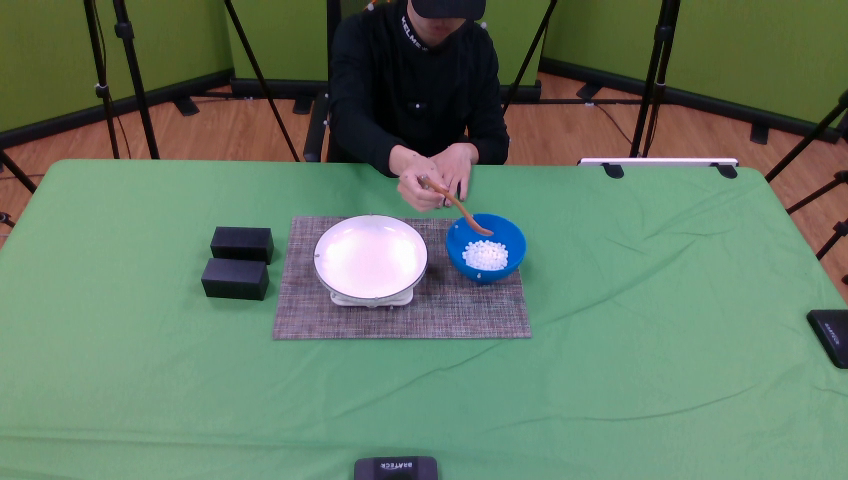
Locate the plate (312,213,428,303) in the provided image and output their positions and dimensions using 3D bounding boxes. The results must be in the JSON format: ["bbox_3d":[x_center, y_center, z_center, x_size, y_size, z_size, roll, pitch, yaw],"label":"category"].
[{"bbox_3d":[-0.097,0.036,1.100,0.209,0.038,0.208,2,46,-2],"label":"plate"}]

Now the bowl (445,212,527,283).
[{"bbox_3d":[0.112,0.027,1.136,0.151,0.077,0.150,2,46,-2],"label":"bowl"}]

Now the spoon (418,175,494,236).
[{"bbox_3d":[0.057,-0.058,1.052,0.021,0.195,0.041,-51,33,-3],"label":"spoon"}]

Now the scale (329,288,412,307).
[{"bbox_3d":[-0.098,0.042,1.140,0.149,0.032,0.199,1,46,-4],"label":"scale"}]
